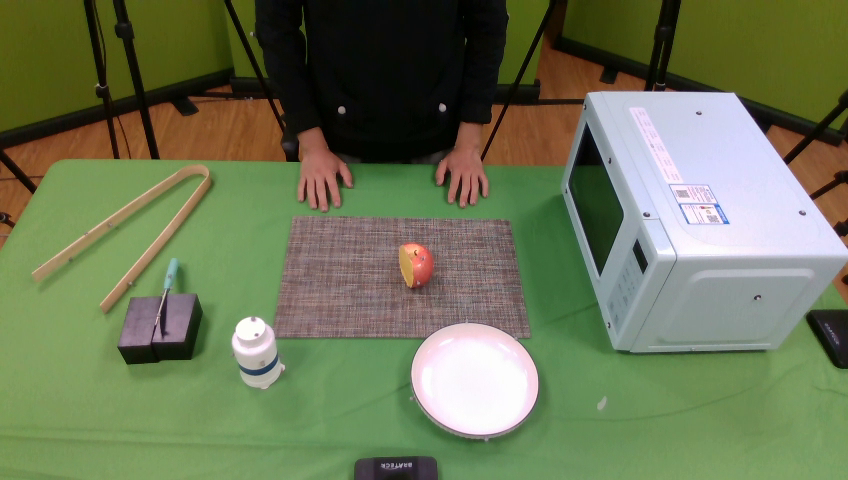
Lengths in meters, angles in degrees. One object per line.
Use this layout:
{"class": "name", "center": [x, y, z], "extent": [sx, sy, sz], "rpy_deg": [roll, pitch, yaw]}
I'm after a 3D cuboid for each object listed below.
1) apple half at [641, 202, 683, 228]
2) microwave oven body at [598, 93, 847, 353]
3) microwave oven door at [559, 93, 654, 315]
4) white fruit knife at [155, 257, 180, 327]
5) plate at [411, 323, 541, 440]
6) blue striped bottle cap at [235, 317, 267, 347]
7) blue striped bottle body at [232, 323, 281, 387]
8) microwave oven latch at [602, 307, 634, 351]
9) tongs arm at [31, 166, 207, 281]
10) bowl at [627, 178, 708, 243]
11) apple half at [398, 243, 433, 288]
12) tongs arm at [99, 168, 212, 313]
{"class": "apple half", "center": [0.457, -0.054, 1.160], "extent": [0.081, 0.033, 0.081], "rpy_deg": [-2, 32, 1]}
{"class": "microwave oven body", "center": [0.475, -0.041, 1.109], "extent": [0.326, 0.261, 0.438], "rpy_deg": [-1, 45, -4]}
{"class": "microwave oven door", "center": [0.327, -0.074, 1.123], "extent": [0.039, 0.245, 0.353], "rpy_deg": [-1, 46, -5]}
{"class": "white fruit knife", "center": [-0.440, 0.085, 1.037], "extent": [0.016, 0.027, 0.206], "rpy_deg": [10, 26, -19]}
{"class": "plate", "center": [0.082, 0.228, 0.976], "extent": [0.208, 0.039, 0.206], "rpy_deg": [2, 45, -2]}
{"class": "blue striped bottle cap", "center": [-0.259, 0.137, 0.907], "extent": [0.044, 0.021, 0.044], "rpy_deg": [3, 43, -2]}
{"class": "blue striped bottle body", "center": [-0.262, 0.172, 0.944], "extent": [0.063, 0.121, 0.062], "rpy_deg": [2, 46, -2]}
{"class": "microwave oven latch", "center": [0.332, 0.153, 1.044], "extent": [0.030, 0.029, 0.078], "rpy_deg": [-1, 45, -4]}
{"class": "tongs arm", "center": [-0.578, -0.040, 1.184], "extent": [0.050, 0.026, 0.384], "rpy_deg": [23, 48, 17]}
{"class": "bowl", "center": [0.456, -0.047, 1.168], "extent": [0.151, 0.077, 0.150], "rpy_deg": [7, 36, -5]}
{"class": "apple half", "center": [-0.012, 0.046, 1.115], "extent": [0.053, 0.075, 0.080], "rpy_deg": [-11, 43, -20]}
{"class": "tongs arm", "center": [-0.503, -0.012, 1.167], "extent": [0.028, 0.028, 0.385], "rpy_deg": [11, 46, 11]}
